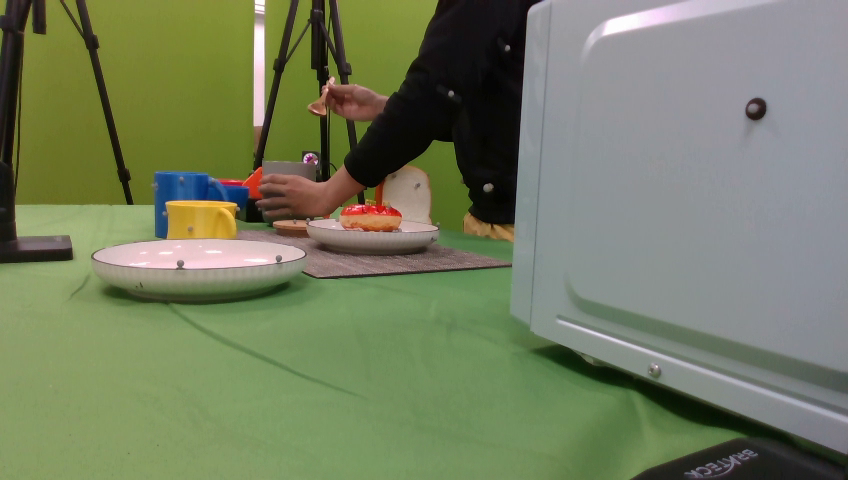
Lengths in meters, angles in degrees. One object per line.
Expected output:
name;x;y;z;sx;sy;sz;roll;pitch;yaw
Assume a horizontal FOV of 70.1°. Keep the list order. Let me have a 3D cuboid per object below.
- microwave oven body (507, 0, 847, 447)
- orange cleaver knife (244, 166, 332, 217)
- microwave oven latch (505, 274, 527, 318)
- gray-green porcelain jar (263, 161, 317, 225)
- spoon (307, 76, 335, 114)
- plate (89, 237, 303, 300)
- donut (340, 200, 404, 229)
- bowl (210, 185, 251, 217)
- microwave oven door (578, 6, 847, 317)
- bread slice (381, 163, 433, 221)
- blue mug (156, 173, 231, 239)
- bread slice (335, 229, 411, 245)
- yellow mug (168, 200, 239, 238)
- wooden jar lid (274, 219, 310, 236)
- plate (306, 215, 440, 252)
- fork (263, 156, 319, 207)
microwave oven body;0.331;-0.042;0.425;0.444;0.260;0.324;-2;8;-31
orange cleaver knife;-0.301;-0.089;1.351;0.212;0.077;0.012;32;-11;-34
microwave oven latch;0.100;0.041;0.472;0.079;0.029;0.030;-2;8;-30
gray-green porcelain jar;-0.270;-0.093;1.219;0.106;0.126;0.106;0;4;0
spoon;-0.221;-0.326;1.349;0.042;0.021;0.193;20;40;-8
plate;-0.233;0.029;0.637;0.208;0.039;0.207;2;7;0
donut;-0.081;-0.038;0.945;0.099;0.048;0.099;1;4;0
bowl;-0.408;-0.064;1.155;0.151;0.077;0.151;2;8;0
microwave oven door;0.294;-0.067;0.570;0.358;0.243;0.039;-3;9;-31
bread slice;-0.035;-0.076;1.125;0.107;0.134;0.018;-4;2;-25
blue mug;-0.381;-0.057;1.004;0.117;0.106;0.082;0;8;-12
bread slice;-0.074;-0.005;0.938;0.105;0.019;0.131;-1;4;-19
yellow mug;-0.320;-0.023;0.904;0.130;0.064;0.100;9;11;36
wooden jar lid;-0.213;-0.023;1.081;0.108;0.020;0.108;3;8;0
plate;-0.079;-0.011;0.950;0.209;0.038;0.209;2;8;0
fork;-0.331;-0.143;1.506;0.207;0.018;0.028;-42;-17;22
